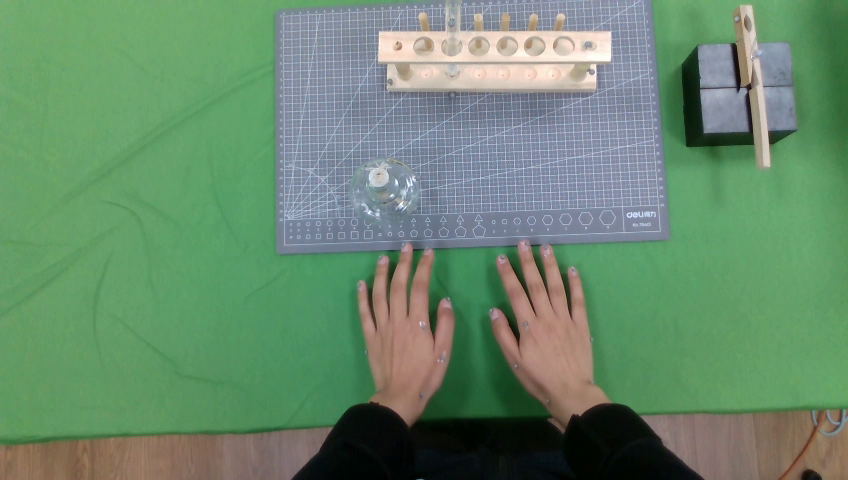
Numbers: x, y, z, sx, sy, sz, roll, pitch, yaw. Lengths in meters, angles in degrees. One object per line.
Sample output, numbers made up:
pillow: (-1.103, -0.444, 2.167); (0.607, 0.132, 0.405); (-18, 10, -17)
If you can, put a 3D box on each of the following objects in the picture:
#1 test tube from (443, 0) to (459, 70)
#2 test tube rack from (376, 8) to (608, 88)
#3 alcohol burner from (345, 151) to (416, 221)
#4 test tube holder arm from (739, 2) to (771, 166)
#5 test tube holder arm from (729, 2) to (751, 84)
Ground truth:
test tube: (0.027, -0.212, 0.626); (0.017, 0.150, 0.017); (0, 82, 2)
test tube rack: (0.073, -0.217, 0.675); (0.242, 0.085, 0.066); (1, 84, 2)
alcohol burner: (-0.048, -0.062, 0.647); (0.078, 0.119, 0.077); (0, 82, 1)
test tube holder arm: (0.352, -0.167, 0.648); (0.013, 0.015, 0.178); (-7, 84, -2)
test tube holder arm: (0.341, -0.211, 0.652); (0.010, 0.015, 0.087); (-5, 84, -2)
